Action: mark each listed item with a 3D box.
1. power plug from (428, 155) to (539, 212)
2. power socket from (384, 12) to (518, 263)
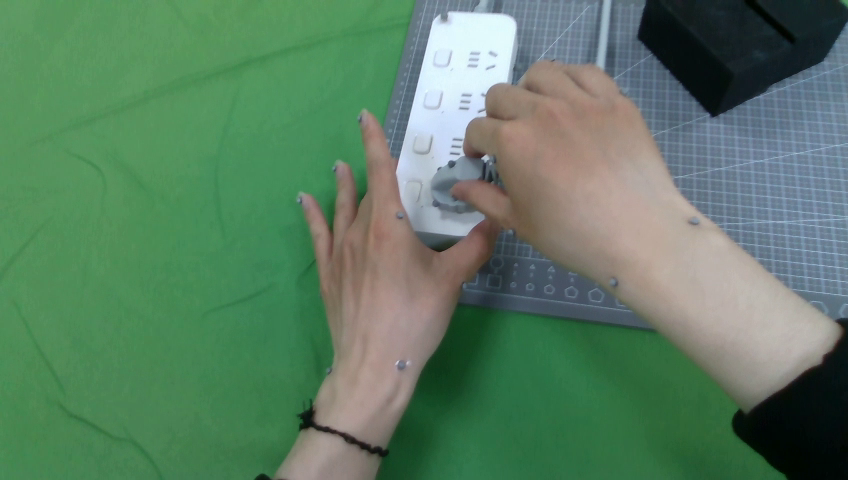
[{"bbox_3d":[0.037,-0.031,0.409,0.072,0.053,0.035,17,67,16],"label":"power plug"},{"bbox_3d":[0.025,-0.090,0.467,0.072,0.033,0.225,8,64,10],"label":"power socket"}]
